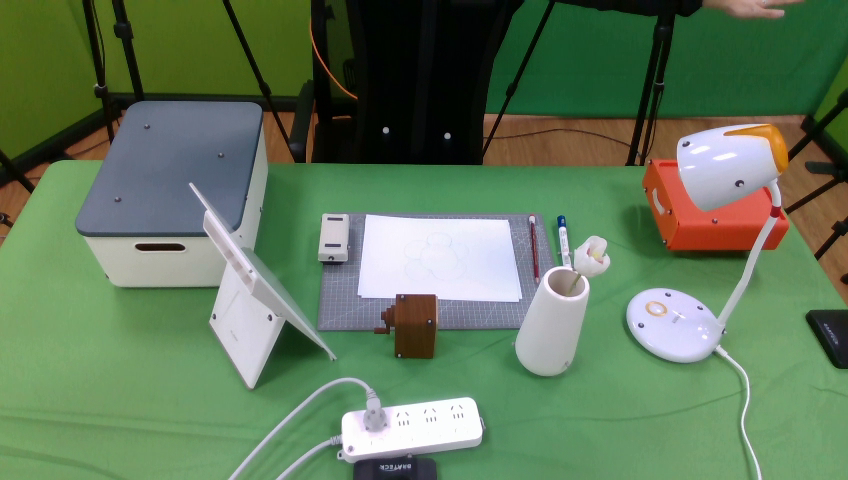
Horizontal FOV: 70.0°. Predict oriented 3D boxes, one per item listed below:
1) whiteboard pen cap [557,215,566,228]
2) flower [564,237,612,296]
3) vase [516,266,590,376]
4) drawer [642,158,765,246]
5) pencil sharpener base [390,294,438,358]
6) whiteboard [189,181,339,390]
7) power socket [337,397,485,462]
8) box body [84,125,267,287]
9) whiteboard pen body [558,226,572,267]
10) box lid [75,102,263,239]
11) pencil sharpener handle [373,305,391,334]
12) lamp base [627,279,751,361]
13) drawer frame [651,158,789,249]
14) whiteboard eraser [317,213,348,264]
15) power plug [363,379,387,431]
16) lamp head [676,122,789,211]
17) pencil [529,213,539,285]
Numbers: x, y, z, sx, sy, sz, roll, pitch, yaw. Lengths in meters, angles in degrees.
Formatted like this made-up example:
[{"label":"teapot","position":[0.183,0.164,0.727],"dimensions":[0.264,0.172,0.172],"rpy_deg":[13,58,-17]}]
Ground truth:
[{"label":"whiteboard pen cap","position":[0.284,-0.035,1.246],"dimensions":[0.018,0.018,0.033],"rpy_deg":[4,52,-1]},{"label":"flower","position":[0.206,0.088,0.893],"dimensions":[0.038,0.363,0.044],"rpy_deg":[-17,67,-9]},{"label":"vase","position":[0.208,0.132,0.964],"dimensions":[0.098,0.201,0.097],"rpy_deg":[3,46,-3]},{"label":"drawer","position":[0.565,-0.076,1.211],"dimensions":[0.212,0.073,0.193],"rpy_deg":[2,45,-2]},{"label":"pencil sharpener base","position":[-0.018,0.143,1.000],"dimensions":[0.077,0.107,0.061],"rpy_deg":[1,46,-2]},{"label":"whiteboard","position":[-0.292,0.096,0.929],"dimensions":[0.144,0.307,0.216],"rpy_deg":[-37,57,-10]},{"label":"power socket","position":[-0.018,0.285,0.915],"dimensions":[0.227,0.033,0.071],"rpy_deg":[-5,46,-8]},{"label":"box body","position":[-0.446,-0.088,1.150],"dimensions":[0.254,0.161,0.361],"rpy_deg":[-1,46,-5]},{"label":"whiteboard pen body","position":[0.280,0.010,1.208],"dimensions":[0.017,0.017,0.140],"rpy_deg":[3,50,-1]},{"label":"box lid","position":[-0.443,-0.138,1.094],"dimensions":[0.263,0.015,0.369],"rpy_deg":[-1,47,-5]},{"label":"pencil sharpener handle","position":[-0.069,0.133,0.989],"dimensions":[0.030,0.068,0.036],"rpy_deg":[1,47,-2]},{"label":"lamp base","position":[0.459,0.100,1.027],"dimensions":[0.178,0.181,0.160],"rpy_deg":[27,51,17]},{"label":"drawer frame","position":[0.571,-0.075,1.214],"dimensions":[0.214,0.083,0.200],"rpy_deg":[0,45,-1]},{"label":"whiteboard eraser","position":[-0.175,-0.003,1.169],"dimensions":[0.055,0.042,0.112],"rpy_deg":[-1,46,-3]},{"label":"power plug","position":[-0.072,0.252,0.910],"dimensions":[0.035,0.053,0.072],"rpy_deg":[3,45,-1]},{"label":"lamp head","position":[0.423,-0.104,0.819],"dimensions":[0.122,0.113,0.112],"rpy_deg":[-13,33,40]},{"label":"pencil","position":[0.220,0.016,1.204],"dimensions":[0.012,0.012,0.193],"rpy_deg":[5,47,0]}]
